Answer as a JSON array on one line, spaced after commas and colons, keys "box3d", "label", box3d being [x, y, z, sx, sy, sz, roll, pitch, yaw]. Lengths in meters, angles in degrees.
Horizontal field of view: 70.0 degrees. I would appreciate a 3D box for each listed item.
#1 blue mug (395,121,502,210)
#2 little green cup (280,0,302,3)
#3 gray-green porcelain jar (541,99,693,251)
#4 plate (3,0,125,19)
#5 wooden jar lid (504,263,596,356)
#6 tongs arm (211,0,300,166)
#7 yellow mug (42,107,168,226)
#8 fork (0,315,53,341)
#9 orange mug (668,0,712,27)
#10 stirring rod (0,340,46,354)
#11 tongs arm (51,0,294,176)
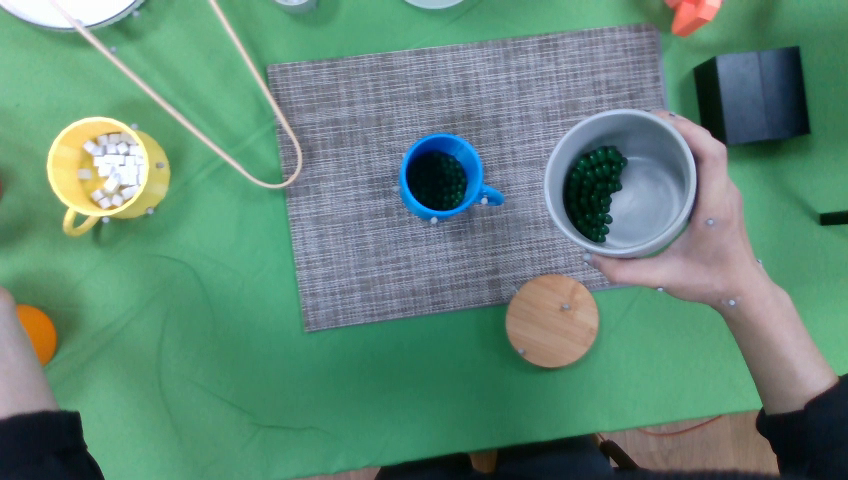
[{"box3d": [0.027, -0.070, 0.643, 0.117, 0.105, 0.082, 18, 89, -5], "label": "blue mug"}, {"box3d": [-0.148, -0.290, 0.659, 0.061, 0.038, 0.061, 0, 92, -5], "label": "little green cup"}, {"box3d": [0.160, -0.045, 0.488, 0.105, 0.127, 0.105, -2, 86, 24], "label": "gray-green porcelain jar"}, {"box3d": [-0.380, -0.335, 0.639, 0.208, 0.039, 0.207, 0, 92, -5], "label": "plate"}, {"box3d": [0.145, 0.080, 0.702, 0.108, 0.020, 0.108, 0, 95, -4], "label": "wooden jar lid"}, {"box3d": [-0.233, -0.252, 0.637, 0.028, 0.027, 0.389, -33, 101, -12], "label": "tongs arm"}, {"box3d": [-0.340, -0.070, 0.636, 0.100, 0.064, 0.131, 31, 90, -5], "label": "yellow mug"}, {"box3d": [-0.478, 0.089, 0.586, 0.209, 0.018, 0.028, 5, 90, -48], "label": "fork"}, {"box3d": [0.307, -0.306, 0.667, 0.083, 0.101, 0.126, 15, 86, -4], "label": "orange mug"}, {"box3d": [-0.468, 0.106, 0.591, 0.006, 0.177, 0.014, -14, 75, 39], "label": "stirring rod"}, {"box3d": [-0.296, -0.197, 0.631, 0.386, 0.026, 0.051, 45, 84, -11], "label": "tongs arm"}]
